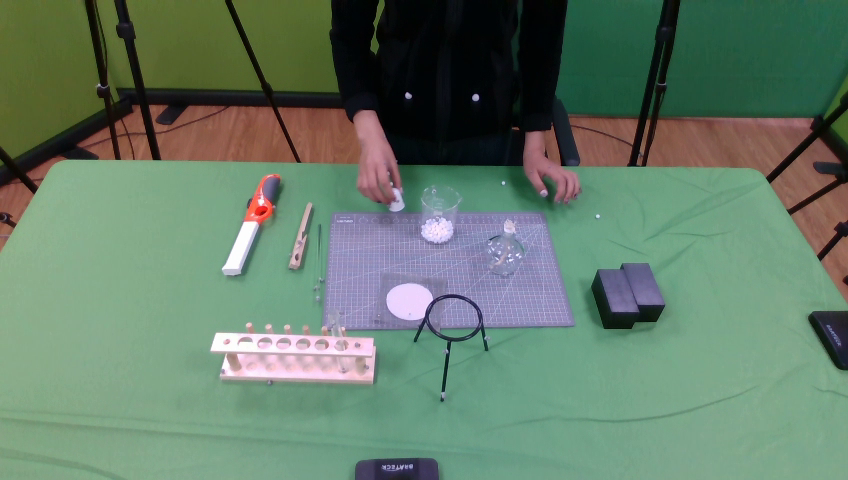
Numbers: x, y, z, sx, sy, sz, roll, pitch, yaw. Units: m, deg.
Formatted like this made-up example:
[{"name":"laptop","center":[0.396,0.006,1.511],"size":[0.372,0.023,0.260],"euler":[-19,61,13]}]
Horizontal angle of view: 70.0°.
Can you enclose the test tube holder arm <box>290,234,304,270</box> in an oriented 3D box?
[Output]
[{"name":"test tube holder arm","center":[-0.243,0.021,1.164],"size":[0.010,0.015,0.087],"euler":[29,39,-26]}]

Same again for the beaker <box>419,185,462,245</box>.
[{"name":"beaker","center":[0.029,-0.047,1.191],"size":[0.084,0.101,0.073],"euler":[-5,47,-10]}]

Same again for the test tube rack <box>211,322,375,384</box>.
[{"name":"test tube rack","center":[-0.203,0.176,0.969],"size":[0.242,0.085,0.066],"euler":[3,46,-2]}]

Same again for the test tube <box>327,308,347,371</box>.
[{"name":"test tube","center":[-0.132,0.155,0.926],"size":[0.017,0.151,0.017],"euler":[0,45,0]}]

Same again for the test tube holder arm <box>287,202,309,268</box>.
[{"name":"test tube holder arm","center":[-0.247,-0.013,1.193],"size":[0.013,0.015,0.177],"euler":[29,39,-26]}]

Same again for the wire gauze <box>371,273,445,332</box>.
[{"name":"wire gauze","center":[-0.028,0.108,1.100],"size":[0.125,0.011,0.121],"euler":[7,45,4]}]

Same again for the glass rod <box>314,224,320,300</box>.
[{"name":"glass rod","center":[-0.204,0.038,1.156],"size":[0.008,0.008,0.198],"euler":[-2,44,-6]}]

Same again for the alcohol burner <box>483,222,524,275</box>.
[{"name":"alcohol burner","center":[0.152,0.009,1.136],"size":[0.078,0.119,0.077],"euler":[4,46,-4]}]

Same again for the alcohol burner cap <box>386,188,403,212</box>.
[{"name":"alcohol burner cap","center":[-0.062,-0.083,1.219],"size":[0.034,0.048,0.033],"euler":[-8,42,8]}]

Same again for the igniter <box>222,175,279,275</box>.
[{"name":"igniter","center":[-0.341,-0.039,1.206],"size":[0.057,0.025,0.275],"euler":[-1,45,9]}]

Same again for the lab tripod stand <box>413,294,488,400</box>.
[{"name":"lab tripod stand","center":[0.044,0.159,0.972],"size":[0.148,0.132,0.147],"euler":[2,44,-2]}]
